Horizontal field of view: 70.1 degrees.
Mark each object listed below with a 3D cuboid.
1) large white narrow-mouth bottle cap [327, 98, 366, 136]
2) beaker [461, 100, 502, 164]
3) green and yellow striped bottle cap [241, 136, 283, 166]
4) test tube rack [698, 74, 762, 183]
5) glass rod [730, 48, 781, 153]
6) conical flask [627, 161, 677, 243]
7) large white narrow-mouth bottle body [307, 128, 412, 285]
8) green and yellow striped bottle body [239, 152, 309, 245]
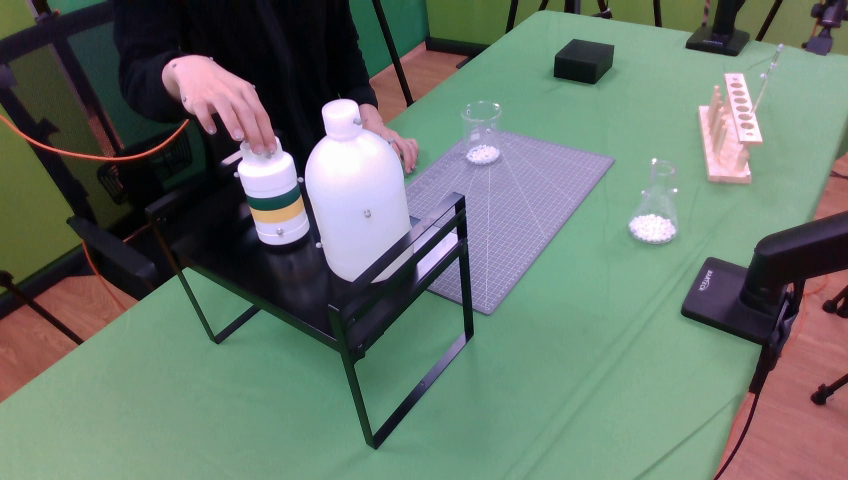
[{"bbox_3d":[-0.075,-0.118,0.581,0.038,0.024,0.037,-3,40,3],"label":"large white narrow-mouth bottle cap"},{"bbox_3d":[0.111,-0.200,1.132,0.084,0.101,0.073,-27,45,-22],"label":"beaker"},{"bbox_3d":[-0.183,-0.101,0.684,0.045,0.020,0.045,-5,31,4],"label":"green and yellow striped bottle cap"},{"bbox_3d":[0.547,-0.208,1.095,0.066,0.085,0.242,5,42,15],"label":"test tube rack"},{"bbox_3d":[0.554,-0.228,1.015,0.008,0.200,0.008,1,44,-1],"label":"glass rod"},{"bbox_3d":[0.355,-0.061,0.921,0.075,0.122,0.075,-4,41,4],"label":"conical flask"},{"bbox_3d":[-0.070,-0.051,0.638,0.102,0.195,0.101,-3,40,3],"label":"large white narrow-mouth bottle body"},{"bbox_3d":[-0.178,-0.059,0.715,0.063,0.120,0.063,-4,35,3],"label":"green and yellow striped bottle body"}]
